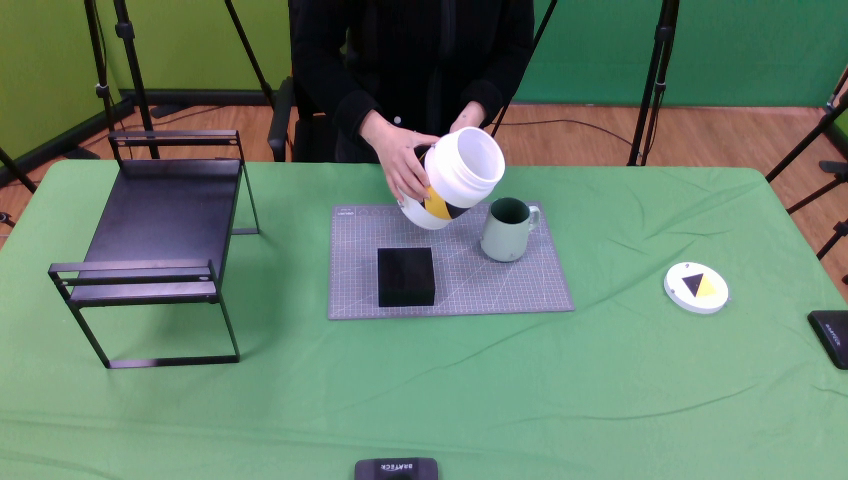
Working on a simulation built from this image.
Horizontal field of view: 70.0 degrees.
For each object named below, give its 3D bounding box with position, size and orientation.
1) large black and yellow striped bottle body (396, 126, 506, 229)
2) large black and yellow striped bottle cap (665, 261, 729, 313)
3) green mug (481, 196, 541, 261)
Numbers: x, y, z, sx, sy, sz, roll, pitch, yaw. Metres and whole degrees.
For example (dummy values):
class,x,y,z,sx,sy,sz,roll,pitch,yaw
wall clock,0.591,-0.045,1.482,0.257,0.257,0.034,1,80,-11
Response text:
class,x,y,z,sx,sy,sz,roll,pitch,yaw
large black and yellow striped bottle body,0.047,-0.112,1.091,0.131,0.184,0.130,17,58,-29
large black and yellow striped bottle cap,0.518,0.087,1.152,0.115,0.019,0.114,2,47,-2
green mug,0.174,-0.027,1.173,0.125,0.105,0.092,-22,51,-23
